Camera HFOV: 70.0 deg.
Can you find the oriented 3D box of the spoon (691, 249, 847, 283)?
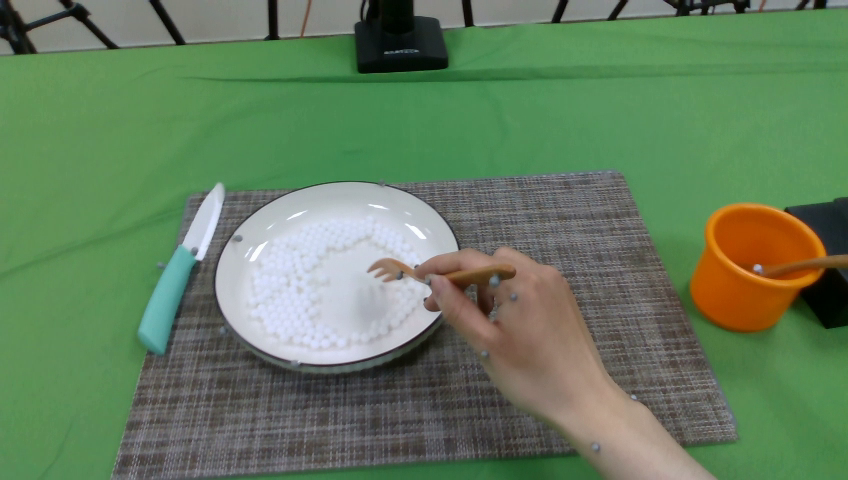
[{"bbox_3d":[0.295,0.017,0.464,0.041,0.193,0.022,-30,98,-29],"label":"spoon"}]

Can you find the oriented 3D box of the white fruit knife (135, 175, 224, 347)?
[{"bbox_3d":[-0.218,0.008,0.555,0.027,0.016,0.205,23,43,-18],"label":"white fruit knife"}]

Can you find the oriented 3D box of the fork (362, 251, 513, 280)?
[{"bbox_3d":[0.001,0.019,0.435,0.028,0.206,0.018,38,75,-21],"label":"fork"}]

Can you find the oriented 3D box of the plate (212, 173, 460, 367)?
[{"bbox_3d":[-0.073,0.023,0.526,0.209,0.038,0.207,0,47,0],"label":"plate"}]
